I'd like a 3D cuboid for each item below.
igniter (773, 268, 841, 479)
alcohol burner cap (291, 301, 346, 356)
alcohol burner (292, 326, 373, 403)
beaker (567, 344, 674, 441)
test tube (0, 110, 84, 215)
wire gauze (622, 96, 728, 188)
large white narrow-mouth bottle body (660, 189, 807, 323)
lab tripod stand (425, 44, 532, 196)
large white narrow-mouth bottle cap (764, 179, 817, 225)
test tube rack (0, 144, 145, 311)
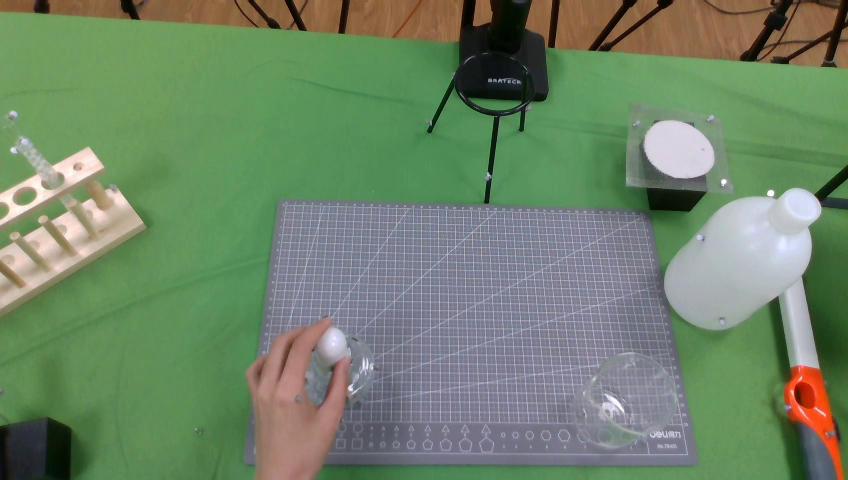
[{"bbox_3d":[0.405,0.140,0.651,0.057,0.025,0.274,13,62,-10],"label":"igniter"},{"bbox_3d":[-0.090,0.080,0.531,0.047,0.034,0.034,43,68,15],"label":"alcohol burner cap"},{"bbox_3d":[-0.087,0.113,0.575,0.078,0.120,0.077,3,61,-5],"label":"alcohol burner"},{"bbox_3d":[0.181,0.152,0.584,0.084,0.101,0.073,-1,62,-4],"label":"beaker"},{"bbox_3d":[-0.383,-0.072,0.608,0.017,0.151,0.017,0,57,0],"label":"test tube"},{"bbox_3d":[0.299,-0.118,0.730,0.121,0.011,0.124,8,62,0],"label":"wire gauze"},{"bbox_3d":[0.322,0.007,0.618,0.102,0.196,0.101,1,62,-2],"label":"large white narrow-mouth bottle body"},{"bbox_3d":[0.071,-0.147,0.713,0.148,0.132,0.147,3,64,-5],"label":"lab tripod stand"},{"bbox_3d":[0.327,-0.034,0.542,0.038,0.024,0.037,2,63,-3],"label":"large white narrow-mouth bottle cap"},{"bbox_3d":[-0.427,0.007,0.622,0.242,0.086,0.066,-37,71,-20],"label":"test tube rack"}]
